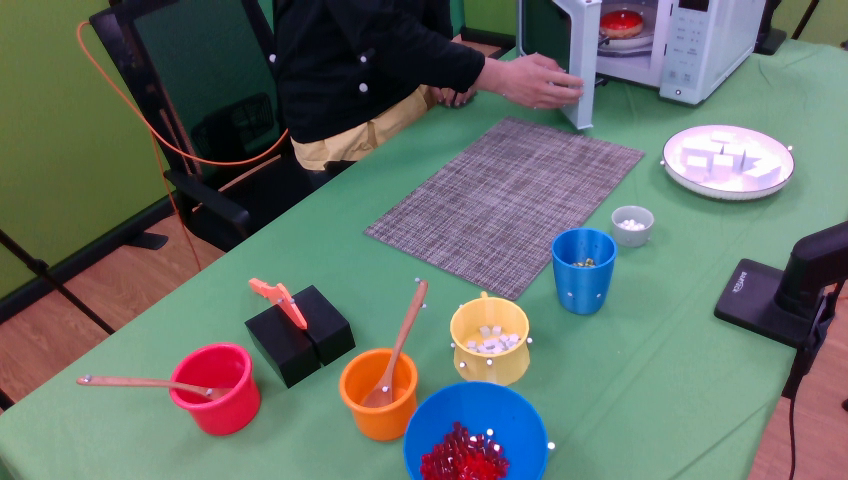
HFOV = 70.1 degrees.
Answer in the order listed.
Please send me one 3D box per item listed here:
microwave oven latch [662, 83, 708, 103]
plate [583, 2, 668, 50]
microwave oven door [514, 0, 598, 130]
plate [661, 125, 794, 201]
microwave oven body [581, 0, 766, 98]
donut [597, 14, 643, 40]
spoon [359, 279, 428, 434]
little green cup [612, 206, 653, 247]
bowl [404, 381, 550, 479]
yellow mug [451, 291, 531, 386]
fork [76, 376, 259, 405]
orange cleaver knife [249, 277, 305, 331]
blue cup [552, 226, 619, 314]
[{"bbox_3d":[0.519,-0.297,1.204,0.030,0.029,0.078,-37,47,-29],"label":"microwave oven latch"},{"bbox_3d":[0.435,-0.476,1.356,0.209,0.038,0.208,-5,41,5],"label":"plate"},{"bbox_3d":[0.258,-0.414,1.225,0.039,0.245,0.353,-13,40,-7],"label":"microwave oven door"},{"bbox_3d":[0.513,-0.128,1.035,0.207,0.039,0.206,-4,40,4],"label":"plate"},{"bbox_3d":[0.472,-0.513,1.317,0.438,0.261,0.327,26,51,34],"label":"microwave oven body"},{"bbox_3d":[0.435,-0.476,1.345,0.099,0.048,0.098,-5,31,3],"label":"donut"},{"bbox_3d":[-0.032,0.138,0.719,0.041,0.193,0.022,22,4,30],"label":"spoon"},{"bbox_3d":[0.321,-0.019,0.936,0.061,0.039,0.061,-4,41,4],"label":"little green cup"},{"bbox_3d":[0.058,0.235,0.645,0.151,0.077,0.150,-4,39,4],"label":"bowl"},{"bbox_3d":[0.085,0.120,0.786,0.100,0.064,0.130,-6,39,1],"label":"yellow mug"},{"bbox_3d":[-0.295,0.176,0.716,0.209,0.018,0.028,19,27,-37],"label":"fork"},{"bbox_3d":[-0.210,0.088,0.856,0.012,0.077,0.210,-28,15,-25],"label":"orange cleaver knife"},{"bbox_3d":[0.218,0.047,0.825,0.092,0.101,0.092,-6,40,5],"label":"blue cup"}]
